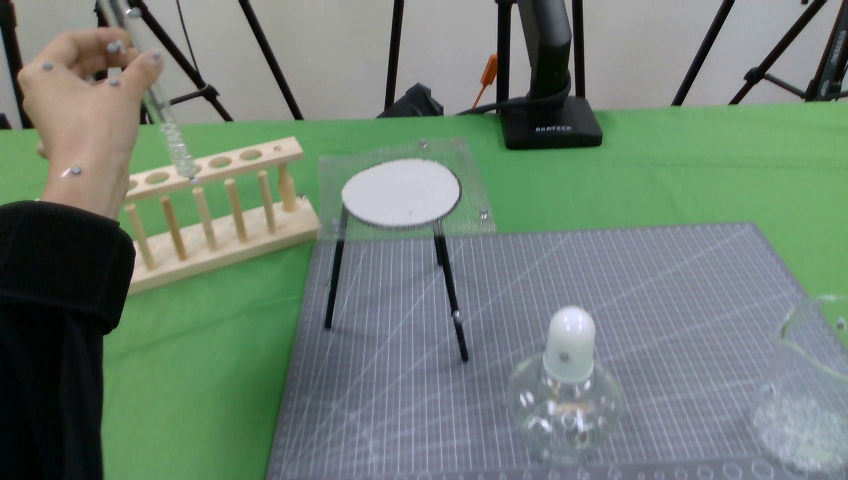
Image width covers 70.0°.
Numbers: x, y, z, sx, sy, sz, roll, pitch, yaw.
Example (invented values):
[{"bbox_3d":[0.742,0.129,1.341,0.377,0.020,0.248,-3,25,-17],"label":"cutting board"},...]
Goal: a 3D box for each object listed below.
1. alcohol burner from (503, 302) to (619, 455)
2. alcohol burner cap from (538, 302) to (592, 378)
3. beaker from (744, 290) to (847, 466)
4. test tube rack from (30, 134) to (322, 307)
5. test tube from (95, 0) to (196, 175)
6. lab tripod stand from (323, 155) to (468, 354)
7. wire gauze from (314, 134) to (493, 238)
[{"bbox_3d":[0.093,0.088,0.404,0.078,0.120,0.077,-1,37,1],"label":"alcohol burner"},{"bbox_3d":[0.090,0.060,0.382,0.034,0.048,0.033,-2,41,2],"label":"alcohol burner cap"},{"bbox_3d":[0.259,0.094,0.400,0.084,0.101,0.073,5,39,10],"label":"beaker"},{"bbox_3d":[-0.231,-0.024,0.588,0.243,0.086,0.066,-18,41,-18],"label":"test tube rack"},{"bbox_3d":[-0.196,-0.109,0.432,0.017,0.152,0.017,-5,42,5],"label":"test tube"},{"bbox_3d":[-0.018,0.011,0.491,0.148,0.133,0.147,-2,41,2],"label":"lab tripod stand"},{"bbox_3d":[-0.021,-0.041,0.448,0.125,0.011,0.120,-6,39,-4],"label":"wire gauze"}]
